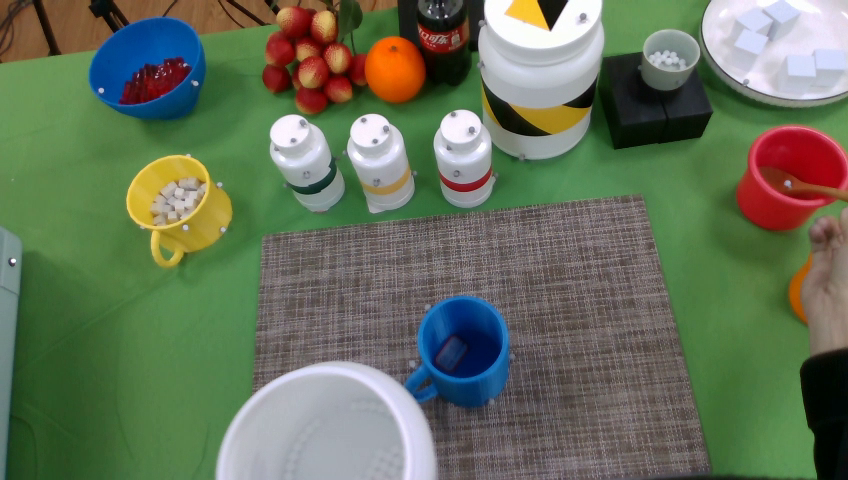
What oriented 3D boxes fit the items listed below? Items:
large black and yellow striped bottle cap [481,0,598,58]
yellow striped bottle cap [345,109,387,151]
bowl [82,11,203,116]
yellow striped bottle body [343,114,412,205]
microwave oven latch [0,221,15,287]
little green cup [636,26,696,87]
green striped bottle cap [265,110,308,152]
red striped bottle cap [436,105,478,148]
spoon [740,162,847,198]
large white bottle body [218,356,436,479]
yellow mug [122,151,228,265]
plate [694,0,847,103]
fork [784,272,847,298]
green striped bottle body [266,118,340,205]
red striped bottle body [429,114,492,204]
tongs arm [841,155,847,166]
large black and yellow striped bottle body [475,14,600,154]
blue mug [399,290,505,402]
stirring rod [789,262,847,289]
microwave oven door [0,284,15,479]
[{"bbox_3d":[0.114,-0.232,0.600,0.115,0.019,0.114,-4,66,9],"label":"large black and yellow striped bottle cap"},{"bbox_3d":[-0.061,-0.116,0.640,0.044,0.019,0.044,-1,61,2],"label":"yellow striped bottle cap"},{"bbox_3d":[-0.357,-0.219,0.805,0.151,0.077,0.150,-2,65,5],"label":"bowl"},{"bbox_3d":[-0.053,-0.095,0.687,0.063,0.121,0.062,-3,63,7],"label":"yellow striped bottle body"},{"bbox_3d":[-0.504,0.018,0.714,0.030,0.030,0.078,-13,65,0],"label":"microwave oven latch"},{"bbox_3d":[0.273,-0.207,0.689,0.061,0.039,0.061,-2,62,4],"label":"little green cup"},{"bbox_3d":[-0.148,-0.117,0.651,0.044,0.020,0.044,-2,64,4],"label":"green striped bottle cap"},{"bbox_3d":[0.034,-0.118,0.629,0.044,0.018,0.044,-1,63,2],"label":"red striped bottle cap"},{"bbox_3d":[0.392,-0.051,0.601,0.041,0.192,0.022,-25,110,-6],"label":"spoon"},{"bbox_3d":[-0.057,0.154,0.416,0.130,0.186,0.129,0,68,1],"label":"large white bottle body"},{"bbox_3d":[-0.297,-0.033,0.718,0.100,0.064,0.130,3,66,8],"label":"yellow mug"},{"bbox_3d":[0.438,-0.249,0.746,0.209,0.038,0.207,-2,65,6],"label":"plate"},{"bbox_3d":[0.443,0.031,0.552,0.206,0.019,0.028,-17,51,50],"label":"fork"},{"bbox_3d":[-0.140,-0.094,0.698,0.063,0.120,0.062,-2,64,6],"label":"green striped bottle body"},{"bbox_3d":[0.041,-0.095,0.676,0.063,0.121,0.062,-4,63,8],"label":"red striped bottle body"},{"bbox_3d":[0.608,0.018,0.602,0.051,0.027,0.381,-39,67,-15],"label":"tongs arm"},{"bbox_3d":[0.123,-0.196,0.678,0.130,0.185,0.129,-3,65,6],"label":"large black and yellow striped bottle body"},{"bbox_3d":[0.024,0.115,0.584,0.116,0.107,0.081,-35,65,-9],"label":"blue mug"},{"bbox_3d":[0.416,0.048,0.554,0.014,0.006,0.174,-35,24,-10],"label":"stirring rod"},{"bbox_3d":[-0.469,0.166,0.528,0.039,0.246,0.352,-15,64,0],"label":"microwave oven door"}]
